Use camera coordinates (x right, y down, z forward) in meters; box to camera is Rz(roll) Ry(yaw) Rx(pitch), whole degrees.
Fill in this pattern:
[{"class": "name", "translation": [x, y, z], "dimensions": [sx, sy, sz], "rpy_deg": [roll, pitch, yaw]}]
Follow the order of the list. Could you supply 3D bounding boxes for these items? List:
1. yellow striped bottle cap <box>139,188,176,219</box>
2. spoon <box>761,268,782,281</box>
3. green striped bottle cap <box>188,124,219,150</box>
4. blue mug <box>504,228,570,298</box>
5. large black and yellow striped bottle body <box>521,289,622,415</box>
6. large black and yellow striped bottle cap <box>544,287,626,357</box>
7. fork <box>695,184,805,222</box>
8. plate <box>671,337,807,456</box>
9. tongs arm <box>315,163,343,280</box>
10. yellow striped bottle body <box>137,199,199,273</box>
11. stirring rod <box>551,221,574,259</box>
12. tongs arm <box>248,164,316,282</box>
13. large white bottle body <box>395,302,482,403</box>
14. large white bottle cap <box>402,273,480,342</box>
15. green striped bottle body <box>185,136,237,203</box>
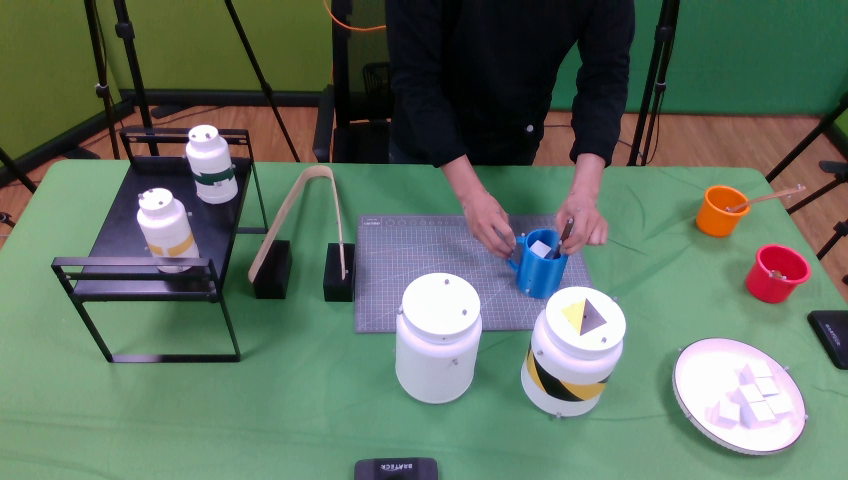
[{"class": "yellow striped bottle cap", "translation": [-0.363, -0.050, 0.826], "dimensions": [0.044, 0.019, 0.044], "rpy_deg": [1, 47, -1]}, {"class": "spoon", "translation": [0.638, 0.060, 1.105], "dimensions": [0.041, 0.021, 0.194], "rpy_deg": [38, 11, 24]}, {"class": "green striped bottle cap", "translation": [-0.339, -0.158, 0.931], "dimensions": [0.044, 0.020, 0.044], "rpy_deg": [3, 47, -3]}, {"class": "blue mug", "translation": [0.201, 0.037, 1.116], "dimensions": [0.116, 0.106, 0.082], "rpy_deg": [23, 49, 18]}, {"class": "large black and yellow striped bottle body", "translation": [0.228, 0.173, 0.938], "dimensions": [0.131, 0.185, 0.130], "rpy_deg": [2, 47, -2]}, {"class": "large black and yellow striped bottle cap", "translation": [0.232, 0.116, 0.876], "dimensions": [0.115, 0.019, 0.114], "rpy_deg": [2, 46, -1]}, {"class": "fork", "translation": [0.657, -0.075, 1.230], "dimensions": [0.207, 0.019, 0.028], "rpy_deg": [-23, 33, 37]}, {"class": "plate", "translation": [0.503, 0.254, 0.984], "dimensions": [0.208, 0.039, 0.206], "rpy_deg": [2, 46, -2]}, {"class": "tongs arm", "translation": [-0.187, -0.049, 1.170], "dimensions": [0.051, 0.026, 0.382], "rpy_deg": [-5, 35, -6]}, {"class": "yellow striped bottle body", "translation": [-0.366, -0.014, 0.863], "dimensions": [0.063, 0.121, 0.062], "rpy_deg": [2, 46, -2]}, {"class": "stirring rod", "translation": [0.234, 0.023, 1.065], "dimensions": [0.014, 0.177, 0.006], "rpy_deg": [-21, 58, -20]}, {"class": "tongs arm", "translation": [-0.269, -0.048, 1.165], "dimensions": [0.028, 0.028, 0.385], "rpy_deg": [0, 34, 7]}, {"class": "large white bottle body", "translation": [0.020, 0.153, 0.939], "dimensions": [0.131, 0.185, 0.130], "rpy_deg": [2, 46, -2]}, {"class": "large white bottle cap", "translation": [0.024, 0.095, 0.878], "dimensions": [0.115, 0.018, 0.114], "rpy_deg": [2, 47, -2]}, {"class": "green striped bottle body", "translation": [-0.341, -0.121, 0.968], "dimensions": [0.063, 0.120, 0.063], "rpy_deg": [2, 46, -2]}]
